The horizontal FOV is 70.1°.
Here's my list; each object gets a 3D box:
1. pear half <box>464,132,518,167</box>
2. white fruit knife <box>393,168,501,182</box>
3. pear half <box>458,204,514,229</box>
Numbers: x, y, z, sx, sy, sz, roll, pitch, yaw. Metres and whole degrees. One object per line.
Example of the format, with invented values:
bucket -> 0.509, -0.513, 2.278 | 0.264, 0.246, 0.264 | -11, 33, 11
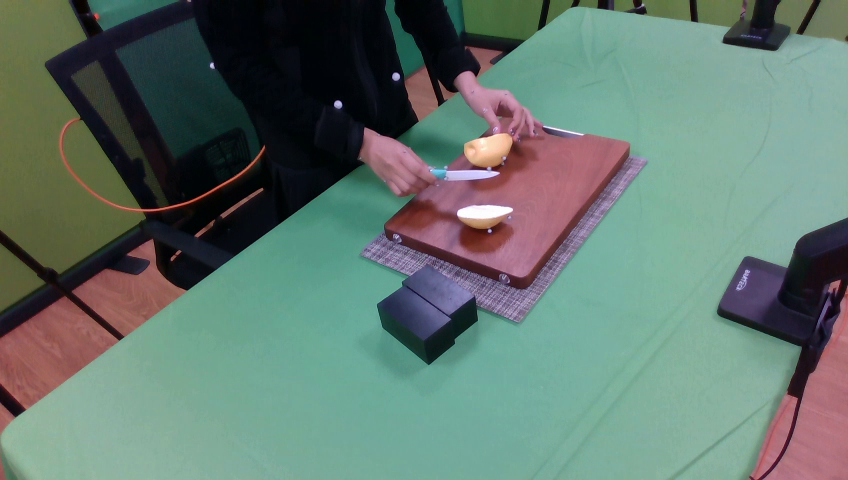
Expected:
pear half -> 0.130, -0.163, 1.081 | 0.110, 0.056, 0.076 | -20, 10, -26
white fruit knife -> 0.033, -0.108, 0.995 | 0.206, 0.027, 0.016 | 1, 55, 31
pear half -> 0.097, -0.035, 0.953 | 0.088, 0.031, 0.070 | 0, 27, 0
